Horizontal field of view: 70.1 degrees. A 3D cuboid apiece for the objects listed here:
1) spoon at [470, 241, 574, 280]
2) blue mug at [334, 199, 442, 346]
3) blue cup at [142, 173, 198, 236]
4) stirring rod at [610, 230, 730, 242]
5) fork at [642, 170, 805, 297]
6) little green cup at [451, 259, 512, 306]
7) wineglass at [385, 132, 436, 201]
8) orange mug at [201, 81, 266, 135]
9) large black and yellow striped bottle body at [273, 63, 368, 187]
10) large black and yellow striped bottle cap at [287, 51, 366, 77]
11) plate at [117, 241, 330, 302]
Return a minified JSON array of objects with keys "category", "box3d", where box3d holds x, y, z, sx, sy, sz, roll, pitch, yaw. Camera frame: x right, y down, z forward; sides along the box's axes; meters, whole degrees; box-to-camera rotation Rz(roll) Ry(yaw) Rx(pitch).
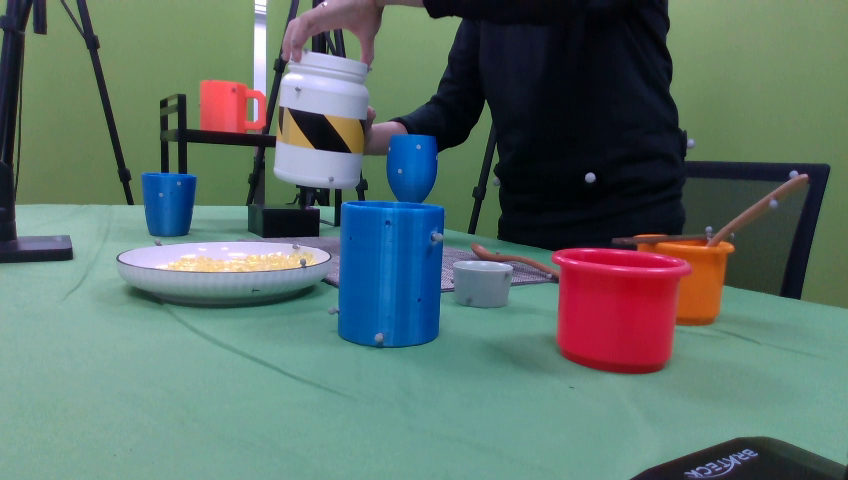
[{"category":"spoon","box3d":[0.124,0.025,0.800,0.042,0.021,0.192,22,-5,-34]},{"category":"blue mug","box3d":[-0.034,0.020,0.498,0.083,0.106,0.116,0,7,-19]},{"category":"blue cup","box3d":[-0.425,-0.060,1.014,0.093,0.100,0.092,4,9,0]},{"category":"stirring rod","box3d":[0.241,-0.005,0.582,0.177,0.006,0.014,-3,9,-34]},{"category":"fork","box3d":[0.261,0.003,0.545,0.028,0.018,0.207,5,-37,-16]},{"category":"little green cup","box3d":[0.057,0.043,0.611,0.061,0.038,0.061,3,7,0]},{"category":"wineglass","box3d":[-0.020,-0.061,0.838,0.074,0.172,0.073,2,7,0]},{"category":"orange mug","box3d":[-0.376,-0.260,1.198,0.126,0.101,0.083,-3,8,-6]},{"category":"large black and yellow striped bottle body","box3d":[-0.156,-0.179,0.916,0.131,0.184,0.130,8,13,-1]},{"category":"large black and yellow striped bottle cap","box3d":[-0.144,-0.261,0.898,0.115,0.019,0.115,10,13,-2]},{"category":"plate","box3d":[-0.203,0.031,0.630,0.209,0.038,0.209,3,7,0]}]
